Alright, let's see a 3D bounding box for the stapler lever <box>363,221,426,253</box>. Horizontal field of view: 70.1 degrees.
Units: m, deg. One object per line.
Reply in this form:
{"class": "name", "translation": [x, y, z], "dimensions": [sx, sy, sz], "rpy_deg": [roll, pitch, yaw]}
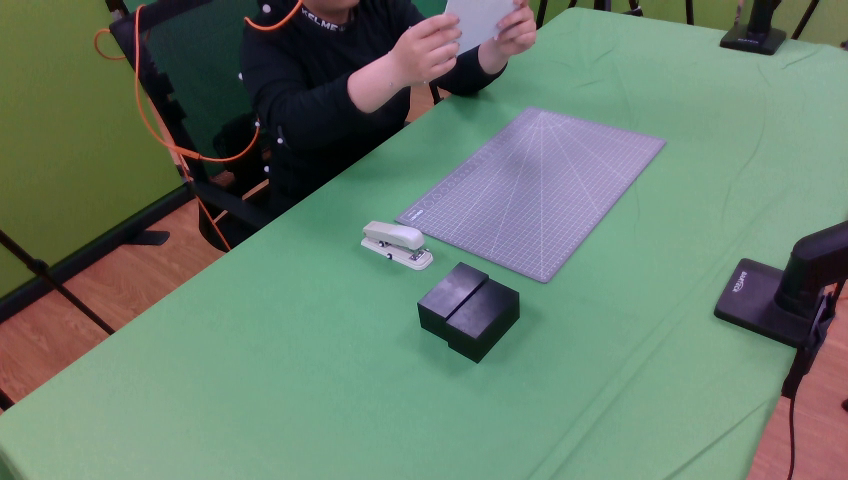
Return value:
{"class": "stapler lever", "translation": [-0.049, -0.011, 0.958], "dimensions": [0.117, 0.040, 0.027], "rpy_deg": [20, 46, 32]}

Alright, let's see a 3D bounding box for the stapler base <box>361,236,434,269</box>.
{"class": "stapler base", "translation": [-0.044, 0.009, 0.974], "dimensions": [0.129, 0.024, 0.041], "rpy_deg": [21, 46, 32]}
